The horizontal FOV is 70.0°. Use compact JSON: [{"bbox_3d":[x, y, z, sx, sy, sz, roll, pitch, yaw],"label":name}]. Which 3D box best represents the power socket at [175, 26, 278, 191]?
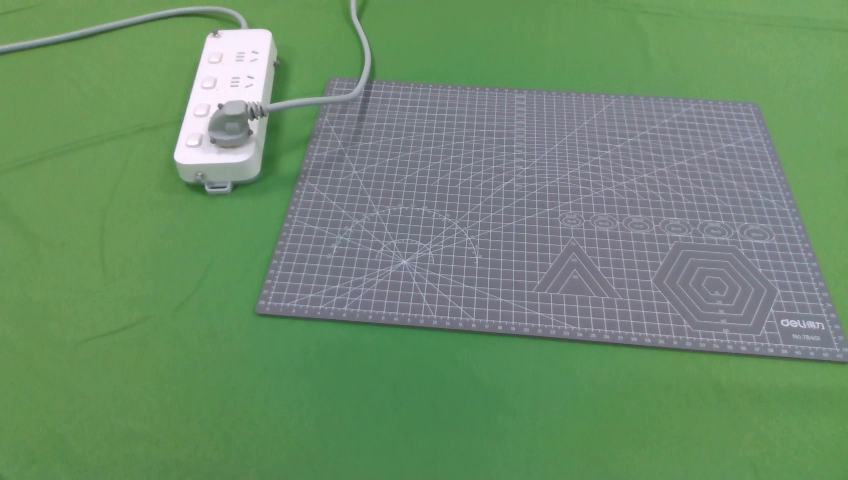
[{"bbox_3d":[-0.191,-0.142,0.604,0.072,0.033,0.224,-1,52,-3],"label":"power socket"}]

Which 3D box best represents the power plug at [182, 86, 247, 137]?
[{"bbox_3d":[-0.174,-0.118,0.521,0.035,0.073,0.052,18,69,-1],"label":"power plug"}]
